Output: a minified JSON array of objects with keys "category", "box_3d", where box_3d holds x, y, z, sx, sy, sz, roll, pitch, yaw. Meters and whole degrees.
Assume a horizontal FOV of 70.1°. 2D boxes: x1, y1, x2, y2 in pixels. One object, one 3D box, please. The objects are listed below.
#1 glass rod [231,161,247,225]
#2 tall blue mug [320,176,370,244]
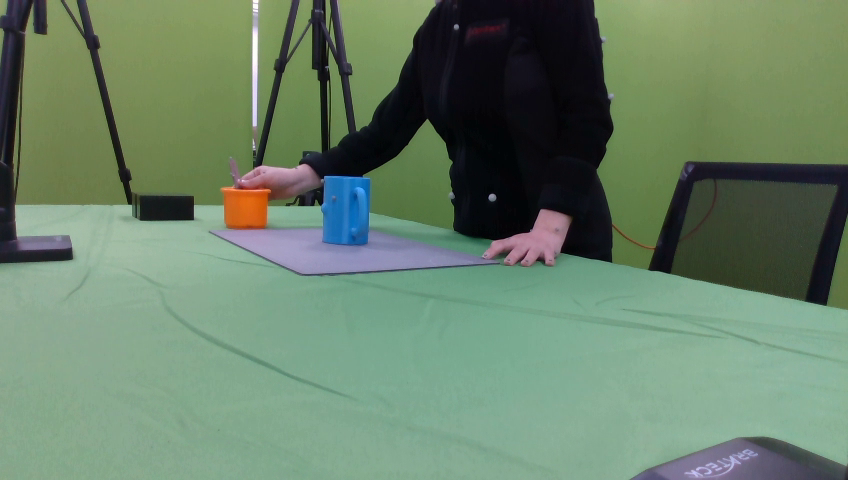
[{"category":"glass rod","box_3d":[-0.356,-0.093,1.160,0.008,0.008,0.199,-1,43,-25]},{"category":"tall blue mug","box_3d":[-0.117,-0.049,0.991,0.106,0.108,0.078,7,8,33]}]
